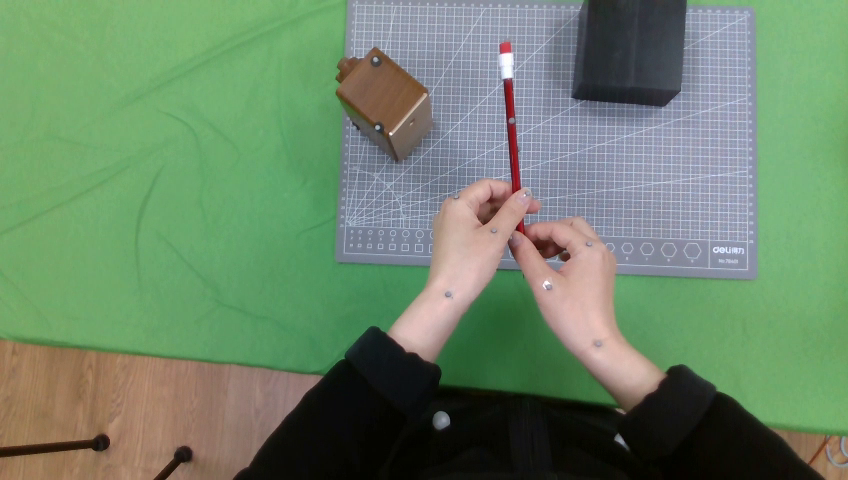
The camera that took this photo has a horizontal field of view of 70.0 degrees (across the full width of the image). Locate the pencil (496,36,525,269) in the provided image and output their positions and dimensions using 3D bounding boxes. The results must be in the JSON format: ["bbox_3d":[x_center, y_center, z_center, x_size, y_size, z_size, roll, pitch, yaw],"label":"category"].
[{"bbox_3d":[0.074,-0.070,0.506,0.012,0.012,0.194,-6,99,2],"label":"pencil"}]

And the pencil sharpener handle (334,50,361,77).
[{"bbox_3d":[-0.080,-0.175,0.608,0.030,0.068,0.036,41,80,6],"label":"pencil sharpener handle"}]

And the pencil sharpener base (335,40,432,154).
[{"bbox_3d":[-0.039,-0.142,0.616,0.076,0.107,0.061,41,88,6],"label":"pencil sharpener base"}]
